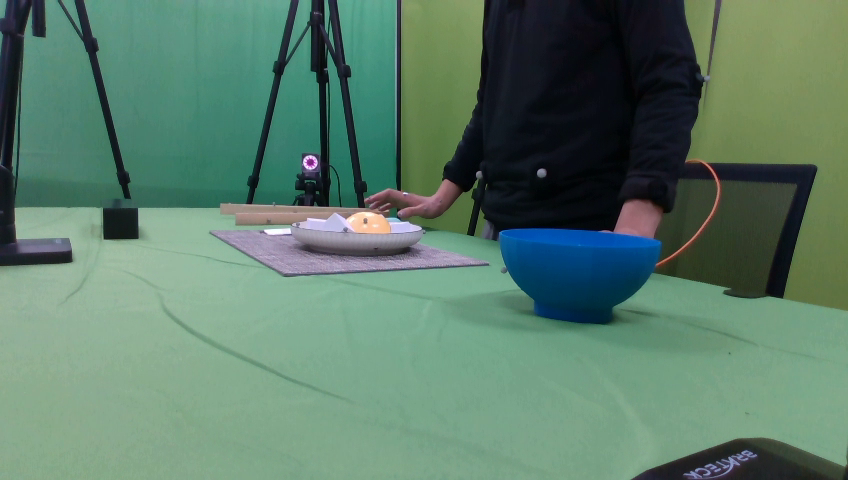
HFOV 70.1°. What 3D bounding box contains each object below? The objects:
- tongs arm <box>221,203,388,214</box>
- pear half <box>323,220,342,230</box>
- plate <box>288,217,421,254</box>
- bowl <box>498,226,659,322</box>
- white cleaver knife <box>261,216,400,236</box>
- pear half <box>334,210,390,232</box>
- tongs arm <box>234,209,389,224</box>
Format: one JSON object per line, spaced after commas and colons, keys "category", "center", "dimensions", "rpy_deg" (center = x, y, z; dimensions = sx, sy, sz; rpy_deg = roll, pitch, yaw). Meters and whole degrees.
{"category": "tongs arm", "center": [-0.271, -0.067, 1.415], "dimensions": [0.387, 0.026, 0.050], "rpy_deg": [0, 9, -26]}
{"category": "pear half", "center": [-0.127, -0.019, 1.001], "dimensions": [0.088, 0.031, 0.070], "rpy_deg": [8, 4, 1]}
{"category": "plate", "center": [-0.109, -0.007, 0.956], "dimensions": [0.208, 0.039, 0.207], "rpy_deg": [2, 7, 0]}
{"category": "bowl", "center": [0.145, 0.032, 0.584], "dimensions": [0.151, 0.077, 0.151], "rpy_deg": [2, 7, 0]}
{"category": "white cleaver knife", "center": [-0.169, -0.021, 1.156], "dimensions": [0.288, 0.021, 0.065], "rpy_deg": [-7, 20, -33]}
{"category": "pear half", "center": [-0.108, -0.017, 0.920], "dimensions": [0.110, 0.056, 0.076], "rpy_deg": [-4, 5, -20]}
{"category": "tongs arm", "center": [-0.232, -0.052, 1.347], "dimensions": [0.390, 0.028, 0.028], "rpy_deg": [-3, 7, -38]}
